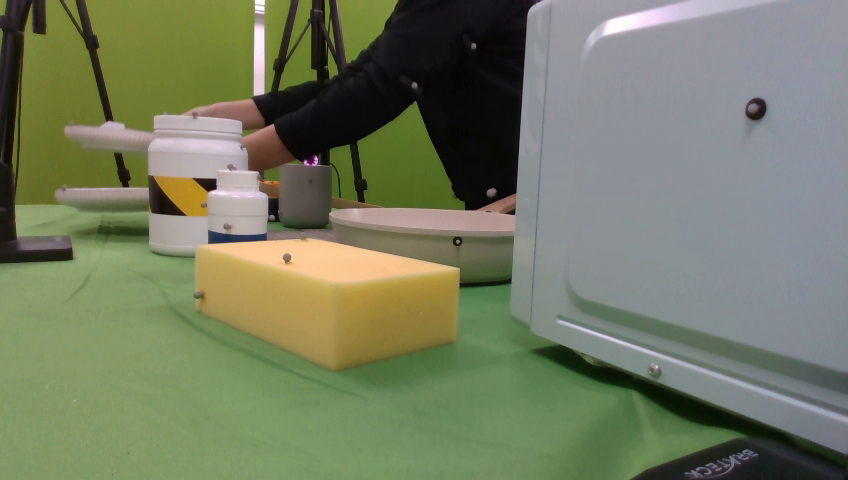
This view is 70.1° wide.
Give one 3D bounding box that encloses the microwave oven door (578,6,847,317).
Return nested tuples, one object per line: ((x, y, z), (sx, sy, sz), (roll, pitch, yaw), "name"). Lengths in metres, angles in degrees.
((0.294, -0.067, 0.570), (0.358, 0.243, 0.039), (-3, 9, -31), "microwave oven door")

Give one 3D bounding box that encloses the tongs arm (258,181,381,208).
((-0.241, -0.095, 1.373), (0.387, 0.026, 0.050), (9, 1, -37), "tongs arm")

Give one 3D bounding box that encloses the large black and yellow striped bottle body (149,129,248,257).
((-0.315, -0.075, 0.854), (0.131, 0.184, 0.130), (1, 7, 0), "large black and yellow striped bottle body")

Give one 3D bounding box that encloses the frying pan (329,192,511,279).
((0.072, -0.030, 0.883), (0.305, 0.102, 0.490), (7, 17, 28), "frying pan")

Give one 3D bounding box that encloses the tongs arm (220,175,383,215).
((-0.284, -0.106, 1.445), (0.389, 0.027, 0.028), (10, -3, -23), "tongs arm")

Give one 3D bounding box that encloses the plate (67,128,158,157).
((-0.596, -0.192, 1.212), (0.208, 0.039, 0.207), (3, 3, 0), "plate")

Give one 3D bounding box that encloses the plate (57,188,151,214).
((-0.497, -0.068, 1.022), (0.209, 0.038, 0.209), (-1, 6, 0), "plate")

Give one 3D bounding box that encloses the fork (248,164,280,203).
((-0.398, -0.144, 1.489), (0.028, 0.018, 0.208), (22, -23, 47), "fork")

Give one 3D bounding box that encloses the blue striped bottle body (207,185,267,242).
((-0.204, -0.016, 0.663), (0.063, 0.120, 0.063), (2, 7, 0), "blue striped bottle body")

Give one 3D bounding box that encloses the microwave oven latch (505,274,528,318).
((0.100, 0.041, 0.472), (0.079, 0.029, 0.030), (-2, 8, -29), "microwave oven latch")

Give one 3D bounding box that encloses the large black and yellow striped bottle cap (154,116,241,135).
((-0.314, -0.158, 0.843), (0.115, 0.019, 0.115), (3, 7, 0), "large black and yellow striped bottle cap")

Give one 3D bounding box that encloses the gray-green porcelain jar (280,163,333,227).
((-0.237, -0.092, 1.221), (0.106, 0.126, 0.106), (2, 7, 0), "gray-green porcelain jar")

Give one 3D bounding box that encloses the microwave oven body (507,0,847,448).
((0.331, -0.042, 0.425), (0.444, 0.260, 0.324), (-2, 8, -31), "microwave oven body")

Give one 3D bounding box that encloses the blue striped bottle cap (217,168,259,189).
((-0.202, -0.067, 0.656), (0.044, 0.020, 0.044), (0, 11, 0), "blue striped bottle cap")

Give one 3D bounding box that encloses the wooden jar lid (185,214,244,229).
((-0.404, -0.037, 1.169), (0.108, 0.020, 0.108), (3, 7, 0), "wooden jar lid")

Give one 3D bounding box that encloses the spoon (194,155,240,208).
((-0.486, -0.134, 1.415), (0.041, 0.021, 0.194), (8, -35, 22), "spoon")

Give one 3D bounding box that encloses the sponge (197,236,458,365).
((-0.087, 0.039, 0.500), (0.206, 0.061, 0.119), (8, 9, 44), "sponge")
